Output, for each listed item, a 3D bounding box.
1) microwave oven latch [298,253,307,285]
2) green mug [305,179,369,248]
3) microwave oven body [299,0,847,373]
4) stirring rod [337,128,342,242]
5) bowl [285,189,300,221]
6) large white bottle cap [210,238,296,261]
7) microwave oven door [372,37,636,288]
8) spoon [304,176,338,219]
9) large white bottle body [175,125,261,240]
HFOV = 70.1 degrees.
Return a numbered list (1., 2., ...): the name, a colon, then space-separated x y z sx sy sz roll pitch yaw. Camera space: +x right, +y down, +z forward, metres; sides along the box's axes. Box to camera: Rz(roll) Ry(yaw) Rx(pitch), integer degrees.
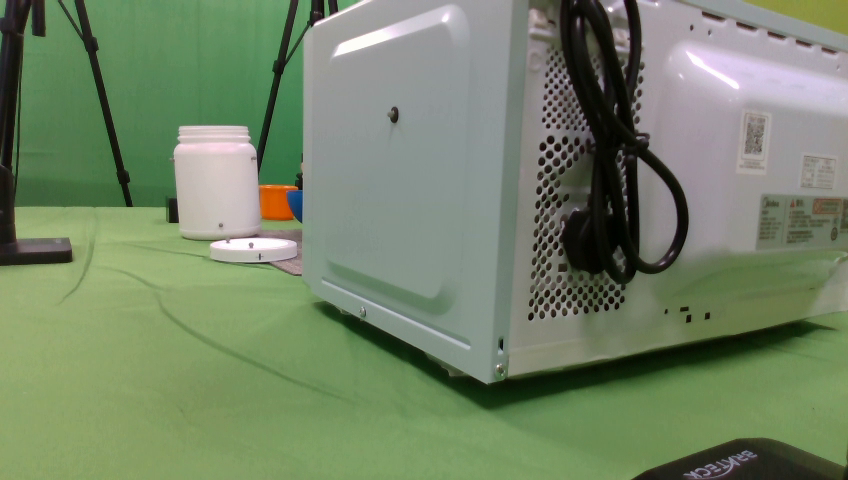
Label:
1. microwave oven latch: -0.081 0.027 0.582 0.079 0.029 0.030 -2 7 -33
2. green mug: -0.133 -0.044 0.977 0.092 0.105 0.126 7 9 31
3. microwave oven body: 0.152 -0.055 0.542 0.444 0.260 0.324 -2 7 -33
4. stirring rod: -0.131 -0.084 0.936 0.006 0.176 0.014 0 10 -14
5. bowl: -0.180 -0.051 1.113 0.151 0.077 0.151 2 8 0
6. large white bottle cap: -0.236 0.012 0.839 0.115 0.018 0.115 1 7 0
7. microwave oven door: 0.110 -0.080 0.686 0.358 0.243 0.039 -2 9 -33
8. spoon: -0.201 -0.084 1.146 0.042 0.021 0.193 3 30 -25
9. large white bottle body: -0.349 -0.100 1.025 0.131 0.184 0.130 -1 9 0
